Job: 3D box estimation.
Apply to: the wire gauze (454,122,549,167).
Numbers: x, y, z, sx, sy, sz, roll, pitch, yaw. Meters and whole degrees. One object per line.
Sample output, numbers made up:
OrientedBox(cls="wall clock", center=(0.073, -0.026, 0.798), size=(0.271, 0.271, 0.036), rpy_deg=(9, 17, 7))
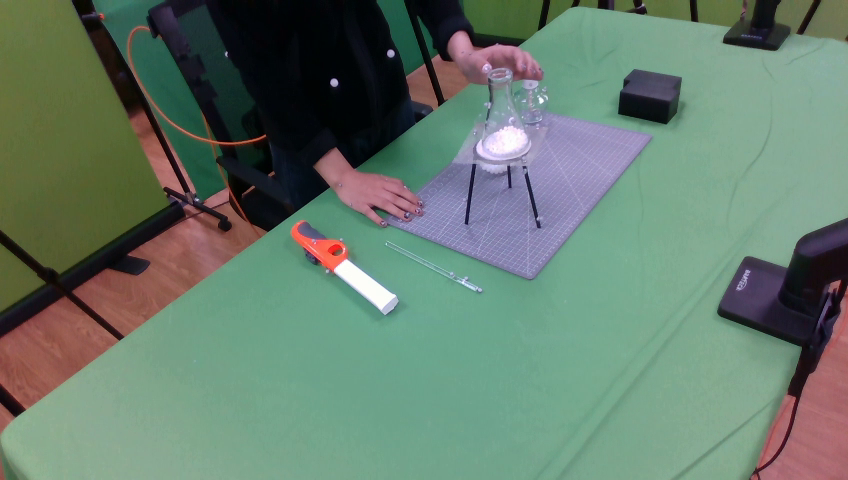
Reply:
OrientedBox(cls="wire gauze", center=(0.122, -0.149, 0.943), size=(0.121, 0.011, 0.125), rpy_deg=(7, 44, 22))

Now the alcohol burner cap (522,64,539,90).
OrientedBox(cls="alcohol burner cap", center=(0.210, -0.324, 1.195), size=(0.034, 0.048, 0.033), rpy_deg=(-7, 45, 7))

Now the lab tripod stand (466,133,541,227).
OrientedBox(cls="lab tripod stand", center=(0.130, -0.099, 0.985), size=(0.148, 0.132, 0.147), rpy_deg=(-6, 38, 6))

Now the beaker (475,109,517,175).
OrientedBox(cls="beaker", center=(0.131, -0.174, 1.101), size=(0.073, 0.101, 0.084), rpy_deg=(17, 47, 29))

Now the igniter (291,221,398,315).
OrientedBox(cls="igniter", center=(-0.136, 0.037, 0.962), size=(0.057, 0.025, 0.274), rpy_deg=(-41, 48, -18))

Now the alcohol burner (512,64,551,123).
OrientedBox(cls="alcohol burner", center=(0.215, -0.298, 1.220), size=(0.078, 0.120, 0.077), rpy_deg=(-7, 41, 7))

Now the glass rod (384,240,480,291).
OrientedBox(cls="glass rod", center=(0.009, 0.037, 0.949), size=(0.198, 0.008, 0.008), rpy_deg=(26, 52, 34))

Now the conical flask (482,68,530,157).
OrientedBox(cls="conical flask", center=(0.118, -0.192, 0.902), size=(0.075, 0.122, 0.075), rpy_deg=(-7, 39, 6))
